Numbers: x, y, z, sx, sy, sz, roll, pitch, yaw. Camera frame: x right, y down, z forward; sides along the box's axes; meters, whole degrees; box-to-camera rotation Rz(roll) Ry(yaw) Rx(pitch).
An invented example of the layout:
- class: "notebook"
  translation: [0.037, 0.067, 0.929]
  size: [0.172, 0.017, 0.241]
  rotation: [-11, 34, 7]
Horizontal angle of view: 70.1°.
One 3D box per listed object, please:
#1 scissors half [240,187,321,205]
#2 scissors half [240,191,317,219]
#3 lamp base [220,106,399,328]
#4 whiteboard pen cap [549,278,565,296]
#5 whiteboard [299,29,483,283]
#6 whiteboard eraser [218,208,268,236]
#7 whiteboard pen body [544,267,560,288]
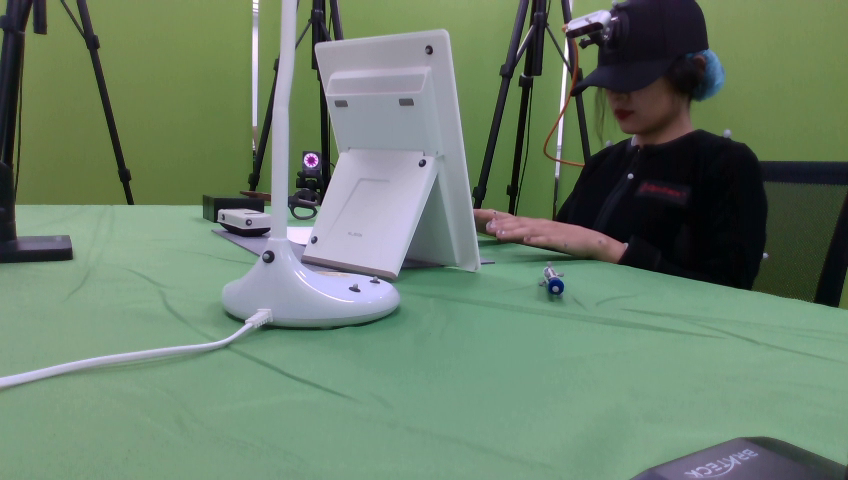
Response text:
- class: "scissors half"
  translation: [-0.311, -0.097, 1.319]
  size: [0.176, 0.040, 0.012]
  rotation: [-1, 30, -25]
- class: "scissors half"
  translation: [-0.317, -0.079, 1.326]
  size: [0.176, 0.040, 0.013]
  rotation: [18, 16, -31]
- class: "lamp base"
  translation: [-0.101, -0.023, 0.531]
  size: [0.160, 0.180, 0.179]
  rotation: [4, 10, 10]
- class: "whiteboard pen cap"
  translation: [0.140, 0.049, 0.639]
  size: [0.018, 0.018, 0.033]
  rotation: [4, 2, 9]
- class: "whiteboard"
  translation: [-0.074, -0.082, 0.742]
  size: [0.216, 0.305, 0.144]
  rotation: [9, 29, 38]
- class: "whiteboard eraser"
  translation: [-0.309, -0.031, 1.044]
  size: [0.056, 0.042, 0.112]
  rotation: [-2, 9, -40]
- class: "whiteboard pen body"
  translation: [0.149, 0.046, 0.697]
  size: [0.017, 0.017, 0.141]
  rotation: [4, 4, 9]
